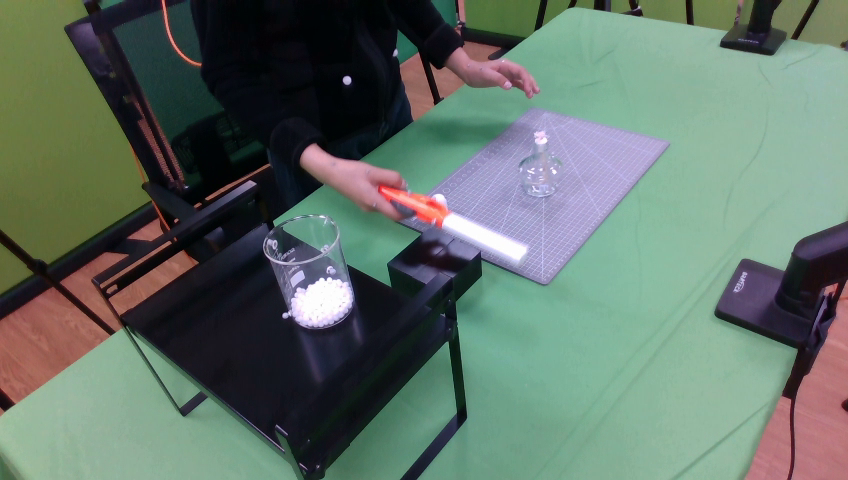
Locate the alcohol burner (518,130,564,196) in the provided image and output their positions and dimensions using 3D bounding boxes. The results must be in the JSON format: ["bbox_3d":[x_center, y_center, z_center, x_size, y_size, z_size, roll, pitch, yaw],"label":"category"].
[{"bbox_3d":[0.199,-0.135,1.027,0.078,0.119,0.077,-5,42,5],"label":"alcohol burner"}]

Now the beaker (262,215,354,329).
[{"bbox_3d":[-0.112,0.034,0.616,0.073,0.101,0.084,13,44,23],"label":"beaker"}]

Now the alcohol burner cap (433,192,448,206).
[{"bbox_3d":[0.025,-0.060,1.019,0.034,0.048,0.033,-3,40,3],"label":"alcohol burner cap"}]

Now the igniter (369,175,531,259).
[{"bbox_3d":[0.027,-0.039,0.879,0.274,0.025,0.057,26,35,24],"label":"igniter"}]
